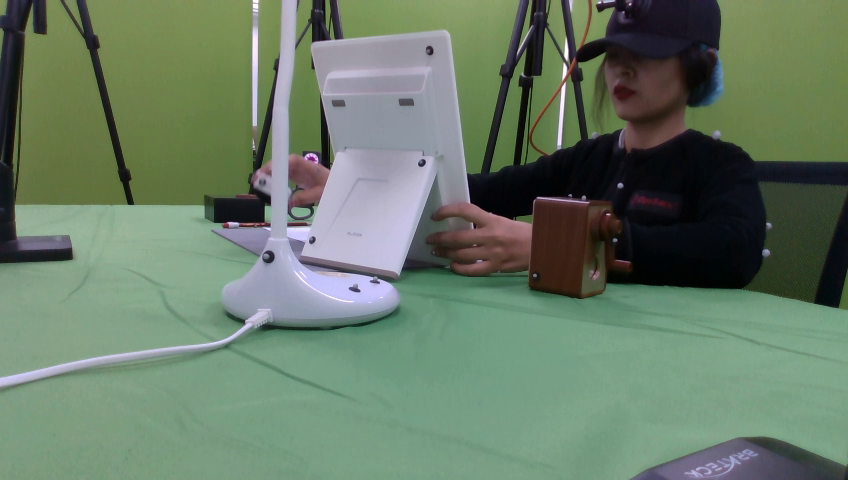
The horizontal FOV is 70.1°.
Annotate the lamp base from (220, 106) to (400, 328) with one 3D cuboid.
[{"bbox_3d":[-0.101,-0.023,0.531,0.160,0.180,0.179,4,10,10],"label":"lamp base"}]

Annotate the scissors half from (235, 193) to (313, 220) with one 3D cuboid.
[{"bbox_3d":[-0.324,-0.077,1.319,0.176,0.040,0.012,17,6,-31],"label":"scissors half"}]

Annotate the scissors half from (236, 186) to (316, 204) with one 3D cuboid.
[{"bbox_3d":[-0.320,-0.097,1.316,0.176,0.040,0.013,-3,11,-29],"label":"scissors half"}]

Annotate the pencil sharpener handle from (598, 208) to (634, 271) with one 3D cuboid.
[{"bbox_3d":[0.208,0.000,0.644,0.030,0.068,0.036,10,23,42],"label":"pencil sharpener handle"}]

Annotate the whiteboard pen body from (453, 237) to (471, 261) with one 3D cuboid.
[{"bbox_3d":[0.058,0.015,0.912,0.017,0.017,0.140,2,10,-3],"label":"whiteboard pen body"}]

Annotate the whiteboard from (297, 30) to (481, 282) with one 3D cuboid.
[{"bbox_3d":[-0.075,-0.082,0.743,0.216,0.305,0.144,8,29,35],"label":"whiteboard"}]

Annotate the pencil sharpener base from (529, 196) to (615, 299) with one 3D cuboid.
[{"bbox_3d":[0.168,0.007,0.678,0.076,0.107,0.062,10,10,42],"label":"pencil sharpener base"}]

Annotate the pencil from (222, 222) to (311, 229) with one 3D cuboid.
[{"bbox_3d":[-0.302,-0.030,1.188,0.195,0.012,0.012,-2,9,-42],"label":"pencil"}]

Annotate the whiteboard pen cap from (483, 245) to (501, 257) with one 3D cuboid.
[{"bbox_3d":[0.104,0.017,0.936,0.018,0.018,0.033,-1,4,-22],"label":"whiteboard pen cap"}]

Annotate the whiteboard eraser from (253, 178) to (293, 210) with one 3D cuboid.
[{"bbox_3d":[-0.238,-0.071,0.951,0.056,0.042,0.112,30,-2,-12],"label":"whiteboard eraser"}]
